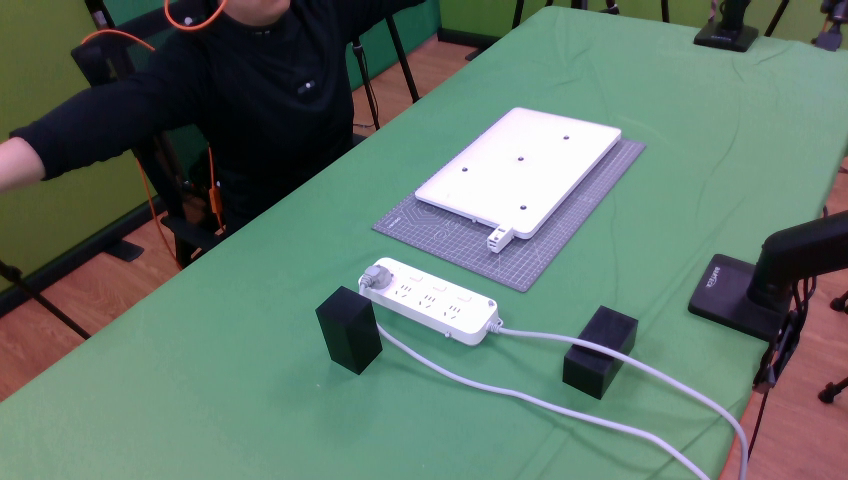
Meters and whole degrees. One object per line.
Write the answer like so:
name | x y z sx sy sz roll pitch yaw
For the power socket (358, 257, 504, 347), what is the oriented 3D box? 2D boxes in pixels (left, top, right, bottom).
power socket | 0.003 0.084 0.862 0.225 0.033 0.072 21 50 29

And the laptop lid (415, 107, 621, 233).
laptop lid | 0.175 -0.144 1.094 0.239 0.013 0.358 23 49 33

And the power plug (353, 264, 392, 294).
power plug | -0.078 0.063 0.867 0.073 0.053 0.035 -37 48 -26

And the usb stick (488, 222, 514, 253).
usb stick | 0.124 -0.008 0.944 0.021 0.027 0.059 25 47 31

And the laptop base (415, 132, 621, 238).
laptop base | 0.178 -0.134 1.101 0.233 0.023 0.355 20 47 33
